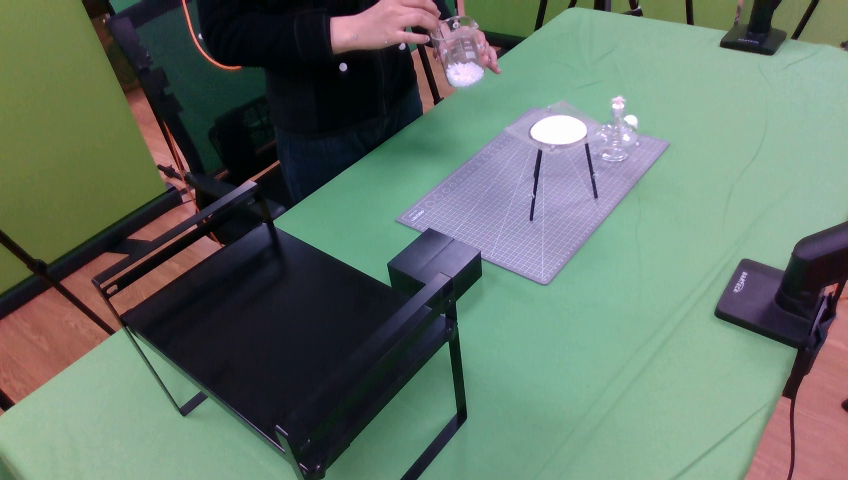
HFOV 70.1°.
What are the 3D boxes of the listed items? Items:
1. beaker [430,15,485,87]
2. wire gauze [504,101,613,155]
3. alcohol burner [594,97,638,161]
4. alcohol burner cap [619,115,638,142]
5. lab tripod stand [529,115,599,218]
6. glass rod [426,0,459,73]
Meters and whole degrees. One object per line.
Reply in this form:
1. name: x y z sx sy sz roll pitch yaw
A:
1. beaker: 0.064 -0.322 1.040 0.083 0.101 0.074 -1 48 21
2. wire gauze: 0.211 -0.176 0.955 0.125 0.011 0.120 -24 44 -18
3. alcohol burner: 0.345 -0.203 1.083 0.078 0.119 0.077 -5 42 5
4. alcohol burner cap: 0.389 -0.214 1.145 0.034 0.048 0.033 -4 39 4
5. lab tripod stand: 0.218 -0.123 0.995 0.148 0.132 0.147 -4 43 4
6. glass rod: 0.024 -0.358 1.006 0.008 0.201 0.008 -14 48 17
